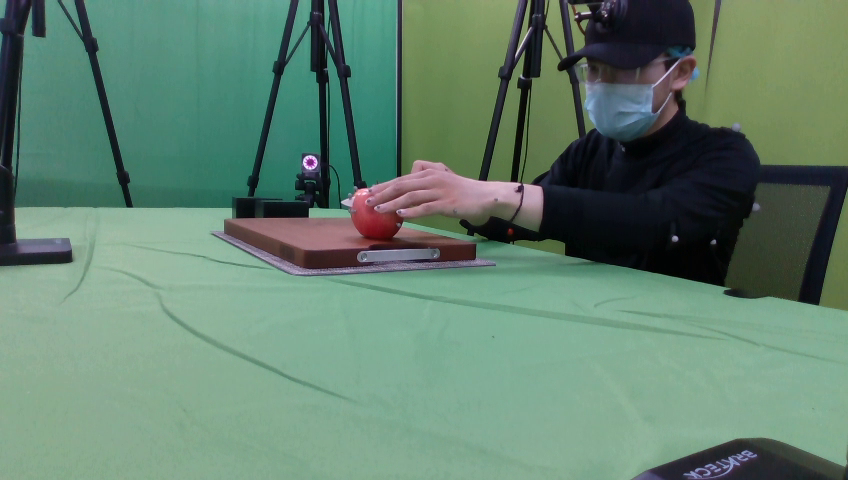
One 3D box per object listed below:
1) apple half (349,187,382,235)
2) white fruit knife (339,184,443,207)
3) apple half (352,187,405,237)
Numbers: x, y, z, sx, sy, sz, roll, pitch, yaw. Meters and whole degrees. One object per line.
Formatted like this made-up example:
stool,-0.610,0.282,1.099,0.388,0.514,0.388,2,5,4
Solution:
apple half,-0.088,-0.045,0.913,0.032,0.081,0.082,13,12,43
white fruit knife,-0.045,-0.068,0.928,0.208,0.027,0.016,-11,14,-44
apple half,-0.059,-0.040,0.885,0.081,0.074,0.053,-1,12,-45
